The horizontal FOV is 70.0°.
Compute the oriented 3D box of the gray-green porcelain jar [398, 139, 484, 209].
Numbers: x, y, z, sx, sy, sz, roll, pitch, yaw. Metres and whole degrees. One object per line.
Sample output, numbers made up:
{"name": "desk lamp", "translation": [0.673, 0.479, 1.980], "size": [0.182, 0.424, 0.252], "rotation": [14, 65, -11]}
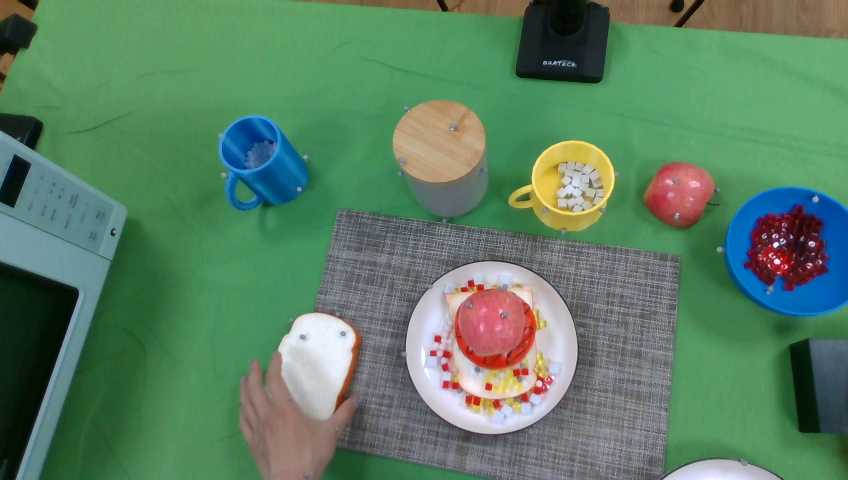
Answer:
{"name": "gray-green porcelain jar", "translation": [0.023, -0.103, 0.763], "size": [0.106, 0.127, 0.105], "rotation": [-2, 73, 7]}

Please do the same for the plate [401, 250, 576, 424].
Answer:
{"name": "plate", "translation": [0.077, 0.116, 0.735], "size": [0.207, 0.039, 0.206], "rotation": [-2, 74, 7]}

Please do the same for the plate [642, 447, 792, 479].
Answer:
{"name": "plate", "translation": [0.316, 0.328, 0.645], "size": [0.209, 0.038, 0.208], "rotation": [-2, 73, 7]}

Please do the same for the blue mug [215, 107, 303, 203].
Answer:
{"name": "blue mug", "translation": [-0.225, -0.102, 0.805], "size": [0.082, 0.106, 0.116], "rotation": [29, 79, 15]}

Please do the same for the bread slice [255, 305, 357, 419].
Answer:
{"name": "bread slice", "translation": [-0.145, 0.147, 0.766], "size": [0.104, 0.019, 0.131], "rotation": [16, 78, 11]}

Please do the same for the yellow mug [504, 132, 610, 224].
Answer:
{"name": "yellow mug", "translation": [0.165, -0.073, 0.768], "size": [0.131, 0.064, 0.099], "rotation": [-14, 72, 4]}

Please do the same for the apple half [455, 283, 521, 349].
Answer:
{"name": "apple half", "translation": [0.071, 0.081, 0.678], "size": [0.081, 0.033, 0.080], "rotation": [-4, 69, 12]}

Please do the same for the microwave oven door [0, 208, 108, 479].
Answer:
{"name": "microwave oven door", "translation": [-0.496, 0.147, 0.676], "size": [0.039, 0.245, 0.354], "rotation": [8, 75, 11]}

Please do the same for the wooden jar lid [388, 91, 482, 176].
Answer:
{"name": "wooden jar lid", "translation": [0.013, -0.121, 0.703], "size": [0.108, 0.021, 0.107], "rotation": [-1, 72, 4]}

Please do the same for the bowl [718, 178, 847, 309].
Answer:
{"name": "bowl", "translation": [0.412, 0.012, 0.704], "size": [0.151, 0.077, 0.150], "rotation": [-2, 74, 7]}

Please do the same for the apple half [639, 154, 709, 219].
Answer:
{"name": "apple half", "translation": [0.314, -0.073, 0.756], "size": [0.074, 0.054, 0.080], "rotation": [30, 80, 17]}

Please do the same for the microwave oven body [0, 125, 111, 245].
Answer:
{"name": "microwave oven body", "translation": [-0.630, 0.088, 0.717], "size": [0.325, 0.262, 0.439], "rotation": [9, 76, 10]}

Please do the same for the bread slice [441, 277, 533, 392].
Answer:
{"name": "bread slice", "translation": [0.083, 0.114, 0.734], "size": [0.107, 0.018, 0.133], "rotation": [-9, 75, 5]}

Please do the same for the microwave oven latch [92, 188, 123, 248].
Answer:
{"name": "microwave oven latch", "translation": [-0.439, -0.031, 0.828], "size": [0.030, 0.030, 0.079], "rotation": [11, 76, 10]}

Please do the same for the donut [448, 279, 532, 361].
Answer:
{"name": "donut", "translation": [0.077, 0.094, 0.712], "size": [0.099, 0.048, 0.098], "rotation": [-2, 73, 8]}
